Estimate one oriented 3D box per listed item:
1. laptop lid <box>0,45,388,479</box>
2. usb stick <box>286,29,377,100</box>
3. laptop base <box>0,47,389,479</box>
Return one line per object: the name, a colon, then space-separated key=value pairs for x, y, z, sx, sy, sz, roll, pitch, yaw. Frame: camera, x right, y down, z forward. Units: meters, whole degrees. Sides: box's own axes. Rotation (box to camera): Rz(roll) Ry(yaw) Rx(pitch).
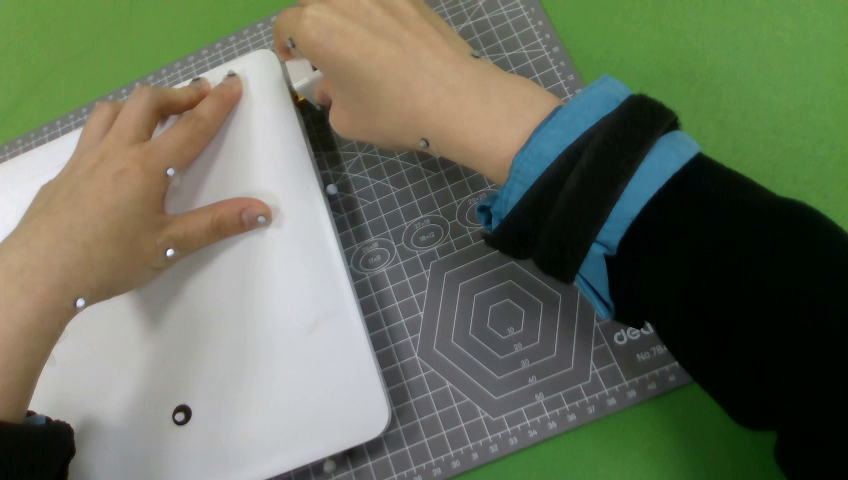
laptop lid: x=-0.214 y=0.050 z=0.340 sx=0.356 sy=0.013 sz=0.240 roll=-20 pitch=74 yaw=6
usb stick: x=-0.059 y=-0.097 z=0.344 sx=0.059 sy=0.027 sz=0.021 roll=-16 pitch=78 yaw=12
laptop base: x=-0.212 y=0.051 z=0.351 sx=0.354 sy=0.023 sz=0.234 roll=-22 pitch=74 yaw=5
